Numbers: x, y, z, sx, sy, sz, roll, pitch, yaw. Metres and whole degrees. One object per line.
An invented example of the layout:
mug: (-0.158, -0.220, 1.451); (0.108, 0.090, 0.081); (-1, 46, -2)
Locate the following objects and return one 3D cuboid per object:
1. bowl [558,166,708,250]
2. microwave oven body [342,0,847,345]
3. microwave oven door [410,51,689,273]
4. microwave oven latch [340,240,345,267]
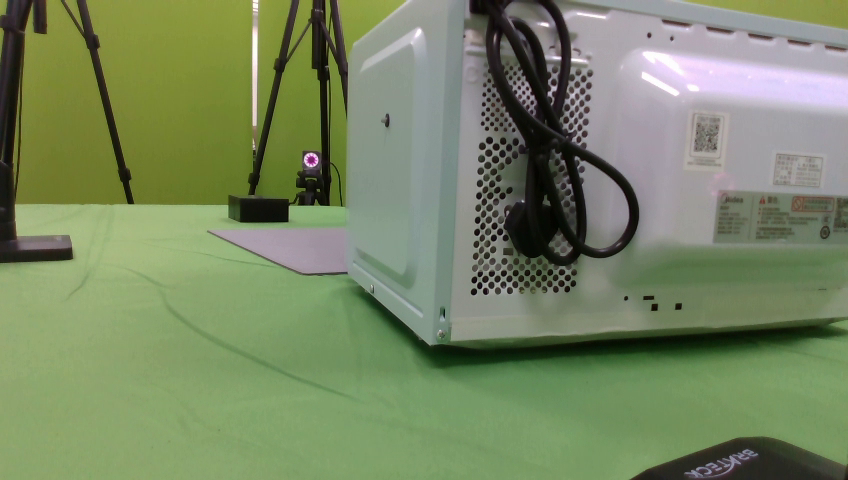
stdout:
bowl: (0.214, -0.035, 0.640); (0.151, 0.077, 0.151); (2, 11, 0)
microwave oven body: (0.169, -0.060, 0.573); (0.444, 0.260, 0.324); (1, 7, -20)
microwave oven door: (0.161, -0.085, 0.725); (0.357, 0.243, 0.039); (0, 7, -19)
microwave oven latch: (-0.052, 0.016, 0.661); (0.079, 0.029, 0.030); (1, 7, -18)
